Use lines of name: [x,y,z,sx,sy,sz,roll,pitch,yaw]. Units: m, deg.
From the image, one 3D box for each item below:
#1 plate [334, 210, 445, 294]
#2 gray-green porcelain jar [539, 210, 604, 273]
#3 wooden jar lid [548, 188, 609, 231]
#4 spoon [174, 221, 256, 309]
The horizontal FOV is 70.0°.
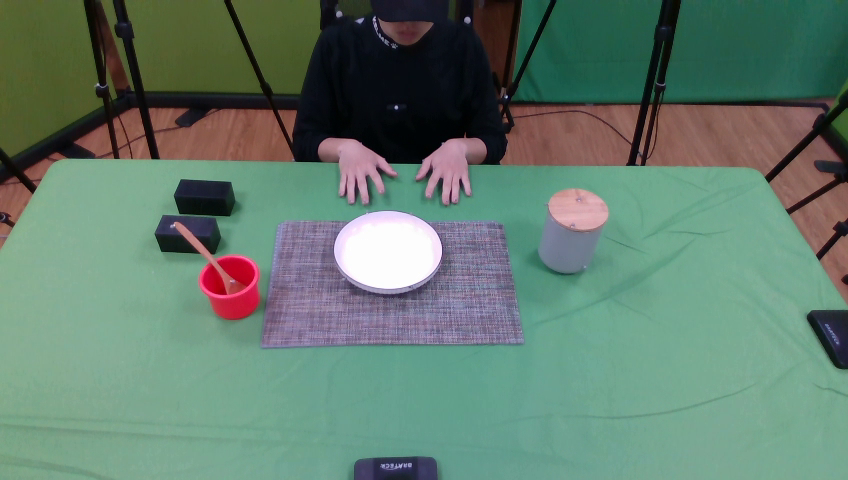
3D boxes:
plate: [-0.066,0.026,1.150,0.208,0.039,0.206,2,46,-2]
gray-green porcelain jar: [0.277,-0.007,1.151,0.106,0.127,0.105,2,46,-2]
wooden jar lid: [0.280,-0.052,1.105,0.108,0.021,0.107,0,48,0]
spoon: [-0.360,0.043,1.043,0.194,0.021,0.041,54,52,-14]
